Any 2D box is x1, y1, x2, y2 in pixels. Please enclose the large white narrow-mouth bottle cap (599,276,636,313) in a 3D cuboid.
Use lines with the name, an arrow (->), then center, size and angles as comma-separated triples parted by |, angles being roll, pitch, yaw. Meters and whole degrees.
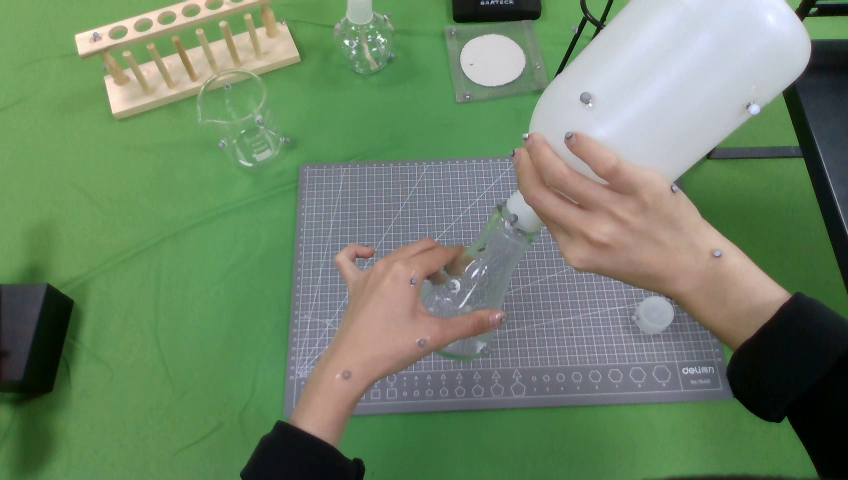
large white narrow-mouth bottle cap -> 0.206, 0.059, 0.646 | 0.038, 0.024, 0.037 | -1, 64, 3

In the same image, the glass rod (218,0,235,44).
glass rod -> -0.245, -0.305, 0.711 | 0.008, 0.201, 0.008 | 2, 63, -3

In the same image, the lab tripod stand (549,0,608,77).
lab tripod stand -> 0.218, -0.237, 0.721 | 0.148, 0.132, 0.147 | 1, 64, -1

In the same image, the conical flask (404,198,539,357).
conical flask -> 0.040, 0.025, 0.459 | 0.076, 0.122, 0.074 | 21, 34, -14

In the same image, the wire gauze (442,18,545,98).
wire gauze -> 0.090, -0.243, 0.794 | 0.121, 0.011, 0.124 | -6, 65, -3

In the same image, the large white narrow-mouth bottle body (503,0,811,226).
large white narrow-mouth bottle body -> 0.128, -0.081, 0.388 | 0.195, 0.102, 0.101 | -44, 65, 25

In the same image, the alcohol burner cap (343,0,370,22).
alcohol burner cap -> -0.080, -0.288, 0.719 | 0.034, 0.048, 0.033 | 4, 63, -7

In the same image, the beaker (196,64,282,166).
beaker -> -0.211, -0.137, 0.698 | 0.084, 0.101, 0.073 | -42, 70, -17

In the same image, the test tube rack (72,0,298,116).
test tube rack -> -0.290, -0.243, 0.756 | 0.242, 0.086, 0.066 | -21, 66, -9

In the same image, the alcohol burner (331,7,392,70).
alcohol burner -> -0.079, -0.271, 0.751 | 0.078, 0.120, 0.077 | 0, 62, 0
